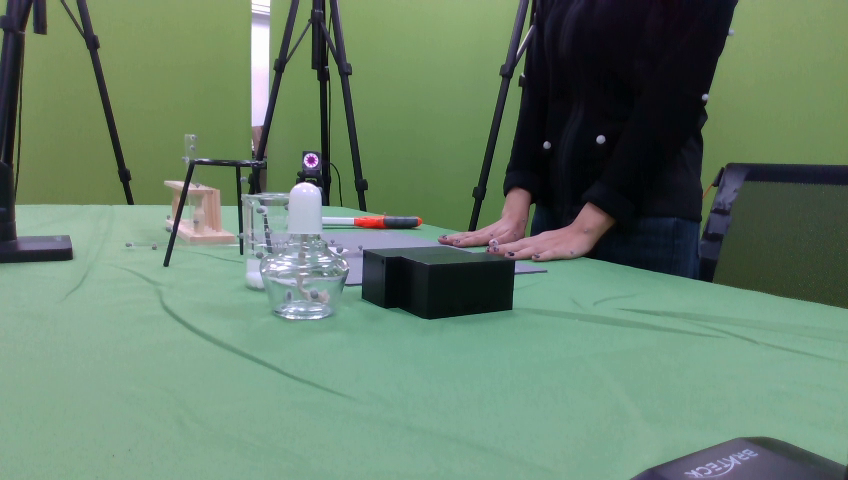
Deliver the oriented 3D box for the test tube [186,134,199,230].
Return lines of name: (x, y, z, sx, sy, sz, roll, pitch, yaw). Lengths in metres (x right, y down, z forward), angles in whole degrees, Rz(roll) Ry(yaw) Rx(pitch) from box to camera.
test tube: (-0.360, -0.089, 0.946, 0.017, 0.150, 0.017, 0, 10, 0)

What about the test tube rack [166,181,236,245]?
test tube rack: (-0.383, -0.051, 1.024, 0.067, 0.085, 0.241, -2, 9, -31)

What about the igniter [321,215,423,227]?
igniter: (-0.136, -0.040, 1.240, 0.278, 0.025, 0.057, 0, -2, -22)

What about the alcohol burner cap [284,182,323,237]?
alcohol burner cap: (-0.105, -0.027, 0.529, 0.034, 0.048, 0.034, 2, 3, 0)

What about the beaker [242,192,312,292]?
beaker: (-0.157, 0.000, 0.642, 0.084, 0.100, 0.074, 4, 7, 19)

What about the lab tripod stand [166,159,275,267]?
lab tripod stand: (-0.249, -0.036, 0.764, 0.148, 0.131, 0.148, 2, 9, 0)

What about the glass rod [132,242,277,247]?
glass rod: (-0.316, 0.007, 0.885, 0.201, 0.008, 0.008, 0, 7, -27)

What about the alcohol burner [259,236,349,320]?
alcohol burner: (-0.106, 0.009, 0.532, 0.078, 0.119, 0.078, 1, 7, 0)

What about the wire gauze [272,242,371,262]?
wire gauze: (-0.155, 0.013, 0.877, 0.122, 0.011, 0.124, -3, 10, -29)
